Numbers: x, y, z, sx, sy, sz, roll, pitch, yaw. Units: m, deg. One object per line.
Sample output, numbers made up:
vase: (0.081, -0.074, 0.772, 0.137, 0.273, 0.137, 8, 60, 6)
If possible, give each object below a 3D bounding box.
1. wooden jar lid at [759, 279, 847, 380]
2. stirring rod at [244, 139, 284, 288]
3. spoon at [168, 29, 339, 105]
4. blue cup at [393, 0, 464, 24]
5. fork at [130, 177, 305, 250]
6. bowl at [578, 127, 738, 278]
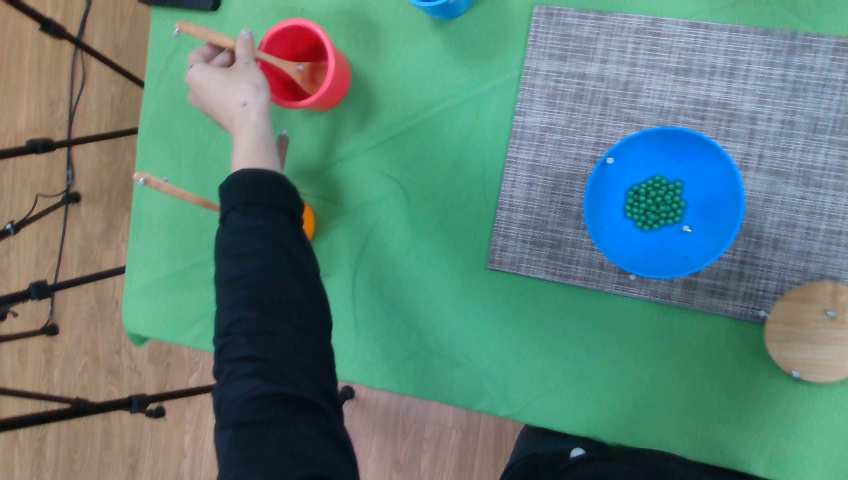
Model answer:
wooden jar lid: (0.410, 0.092, 0.635, 0.108, 0.020, 0.108, 2, 100, 14)
stirring rod: (-0.184, -0.029, 0.696, 0.014, 0.006, 0.176, 15, 98, 9)
spoon: (-0.188, -0.200, 0.689, 0.195, 0.021, 0.041, 15, 96, -32)
blue cup: (0.007, -0.279, 0.659, 0.092, 0.100, 0.093, 1, 96, 12)
fork: (-0.235, -0.030, 0.709, 0.209, 0.018, 0.028, 22, 112, -34)
bowl: (0.238, -0.038, 0.634, 0.151, 0.077, 0.151, 1, 94, 13)
